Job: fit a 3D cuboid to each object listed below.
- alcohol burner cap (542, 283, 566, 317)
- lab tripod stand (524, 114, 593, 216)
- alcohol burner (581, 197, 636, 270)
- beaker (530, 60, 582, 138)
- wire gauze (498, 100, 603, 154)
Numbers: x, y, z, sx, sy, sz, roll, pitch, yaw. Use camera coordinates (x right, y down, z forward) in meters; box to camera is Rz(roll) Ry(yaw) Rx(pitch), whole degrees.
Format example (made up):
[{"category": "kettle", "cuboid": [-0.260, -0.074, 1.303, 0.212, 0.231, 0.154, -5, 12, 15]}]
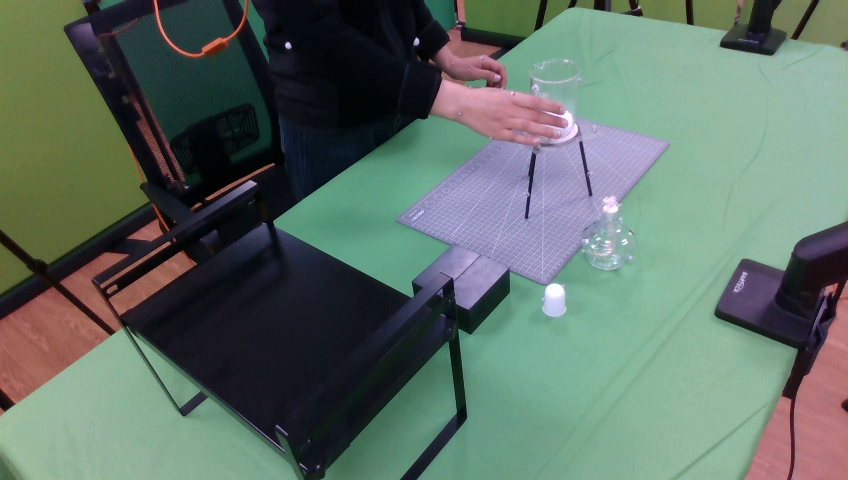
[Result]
[{"category": "alcohol burner cap", "cuboid": [0.181, 0.081, 0.839, 0.034, 0.048, 0.033, -3, 40, 3]}, {"category": "lab tripod stand", "cuboid": [0.210, -0.127, 1.001, 0.148, 0.132, 0.147, -4, 43, 4]}, {"category": "alcohol burner", "cuboid": [0.270, -0.015, 0.882, 0.078, 0.119, 0.077, -5, 42, 5]}, {"category": "beaker", "cuboid": [0.198, -0.217, 0.931, 0.074, 0.101, 0.083, -22, 43, -16]}, {"category": "wire gauze", "cuboid": [0.199, -0.180, 0.963, 0.125, 0.011, 0.120, -21, 42, -12]}]
